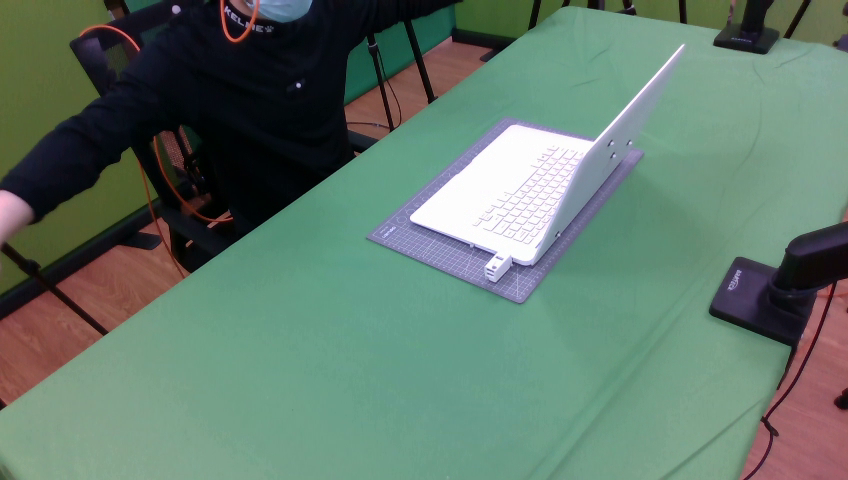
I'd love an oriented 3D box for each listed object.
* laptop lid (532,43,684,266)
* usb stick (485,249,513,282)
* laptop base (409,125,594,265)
[{"bbox_3d":[0.280,-0.130,0.907,0.013,0.242,0.357,34,52,17],"label":"laptop lid"},{"bbox_3d":[0.115,0.034,0.896,0.021,0.027,0.059,23,47,32],"label":"usb stick"},{"bbox_3d":[0.168,-0.094,1.056,0.233,0.023,0.355,19,47,32],"label":"laptop base"}]
